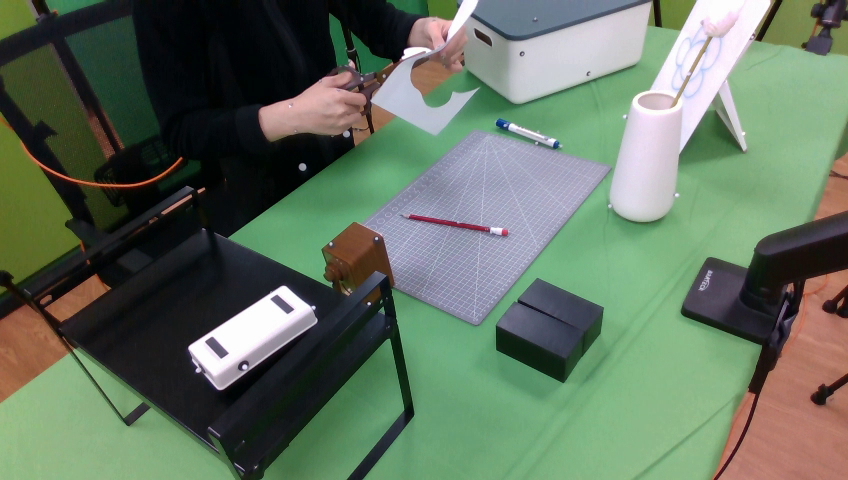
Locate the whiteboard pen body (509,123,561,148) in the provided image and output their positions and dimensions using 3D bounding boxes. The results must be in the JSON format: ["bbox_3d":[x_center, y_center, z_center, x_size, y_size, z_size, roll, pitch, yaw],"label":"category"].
[{"bbox_3d":[0.209,-0.211,1.195,0.139,0.017,0.017,30,52,33],"label":"whiteboard pen body"}]

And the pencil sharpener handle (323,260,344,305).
[{"bbox_3d":[-0.131,0.062,0.839,0.035,0.068,0.031,29,55,28],"label":"pencil sharpener handle"}]

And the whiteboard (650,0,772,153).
[{"bbox_3d":[0.543,-0.298,1.076,0.144,0.305,0.216,12,40,-7],"label":"whiteboard"}]

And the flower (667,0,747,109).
[{"bbox_3d":[0.354,-0.187,0.879,0.038,0.362,0.044,30,48,14],"label":"flower"}]

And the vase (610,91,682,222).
[{"bbox_3d":[0.348,-0.125,0.935,0.098,0.201,0.097,-3,40,3],"label":"vase"}]

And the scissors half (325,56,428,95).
[{"bbox_3d":[-0.075,-0.254,0.912,0.174,0.040,0.013,-7,33,21],"label":"scissors half"}]

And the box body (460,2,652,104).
[{"bbox_3d":[0.291,-0.465,1.371,0.365,0.161,0.252,-22,42,-16],"label":"box body"}]

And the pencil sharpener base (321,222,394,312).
[{"bbox_3d":[-0.096,0.041,0.873,0.061,0.107,0.077,26,54,32],"label":"pencil sharpener base"}]

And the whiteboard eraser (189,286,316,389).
[{"bbox_3d":[-0.166,0.096,0.593,0.113,0.042,0.055,-36,47,-29],"label":"whiteboard eraser"}]

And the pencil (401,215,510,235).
[{"bbox_3d":[0.049,-0.027,1.007,0.193,0.012,0.012,10,43,21],"label":"pencil"}]

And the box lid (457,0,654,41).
[{"bbox_3d":[0.285,-0.522,1.323,0.373,0.015,0.261,-22,43,-16],"label":"box lid"}]

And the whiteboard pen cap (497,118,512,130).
[{"bbox_3d":[0.165,-0.235,1.227,0.033,0.018,0.018,31,53,31],"label":"whiteboard pen cap"}]

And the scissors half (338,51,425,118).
[{"bbox_3d":[-0.065,-0.236,0.920,0.174,0.040,0.013,-31,17,32],"label":"scissors half"}]
